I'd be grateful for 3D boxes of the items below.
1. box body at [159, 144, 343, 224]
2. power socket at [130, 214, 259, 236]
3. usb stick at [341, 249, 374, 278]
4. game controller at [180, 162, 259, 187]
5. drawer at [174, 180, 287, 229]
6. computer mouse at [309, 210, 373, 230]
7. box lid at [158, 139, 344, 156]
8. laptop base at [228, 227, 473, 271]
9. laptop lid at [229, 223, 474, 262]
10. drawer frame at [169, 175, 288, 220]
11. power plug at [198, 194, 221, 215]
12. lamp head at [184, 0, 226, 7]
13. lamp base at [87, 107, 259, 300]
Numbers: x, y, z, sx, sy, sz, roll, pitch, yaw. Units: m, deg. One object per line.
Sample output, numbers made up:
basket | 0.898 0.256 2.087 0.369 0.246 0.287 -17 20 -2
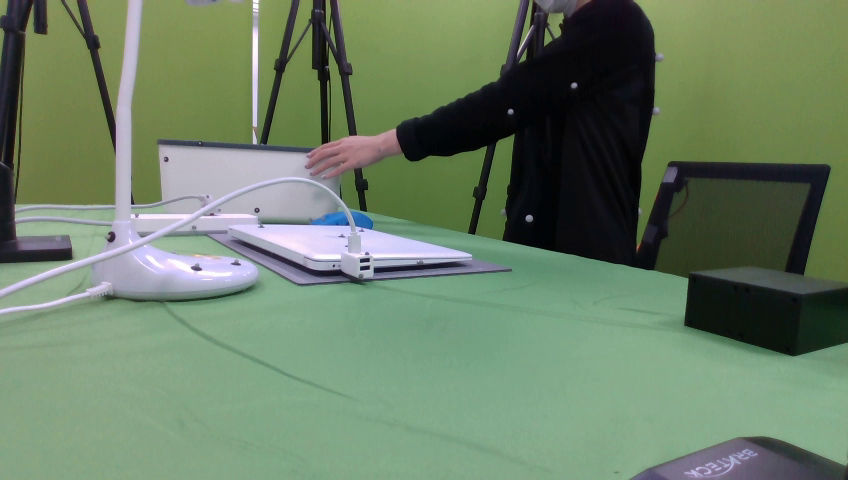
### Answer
box body | -0.364 -0.128 1.337 0.365 0.160 0.253 1 7 -8
power socket | -0.397 -0.028 1.048 0.228 0.032 0.072 -3 7 -35
usb stick | -0.079 0.026 0.686 0.021 0.027 0.059 -8 8 -30
game controller | -0.446 -0.142 1.307 0.156 0.051 0.096 -1 6 -35
drawer | -0.413 -0.080 1.325 0.212 0.073 0.194 -8 11 -8
computer mouse | -0.157 -0.034 1.139 0.118 0.041 0.062 -6 12 -28
box lid | -0.363 -0.201 1.328 0.372 0.015 0.262 2 7 -8
laptop base | -0.124 0.011 0.888 0.237 0.023 0.352 2 6 -35
laptop lid | -0.121 0.000 0.888 0.243 0.013 0.355 1 7 -33
drawer frame | -0.414 -0.096 1.320 0.214 0.082 0.201 -5 7 -8
power plug | -0.386 -0.055 1.088 0.035 0.052 0.072 -2 7 -24
lamp head | -0.229 -0.320 0.627 0.112 0.112 0.123 6 -35 26
lamp base | -0.254 -0.039 0.603 0.160 0.180 0.179 5 10 18
